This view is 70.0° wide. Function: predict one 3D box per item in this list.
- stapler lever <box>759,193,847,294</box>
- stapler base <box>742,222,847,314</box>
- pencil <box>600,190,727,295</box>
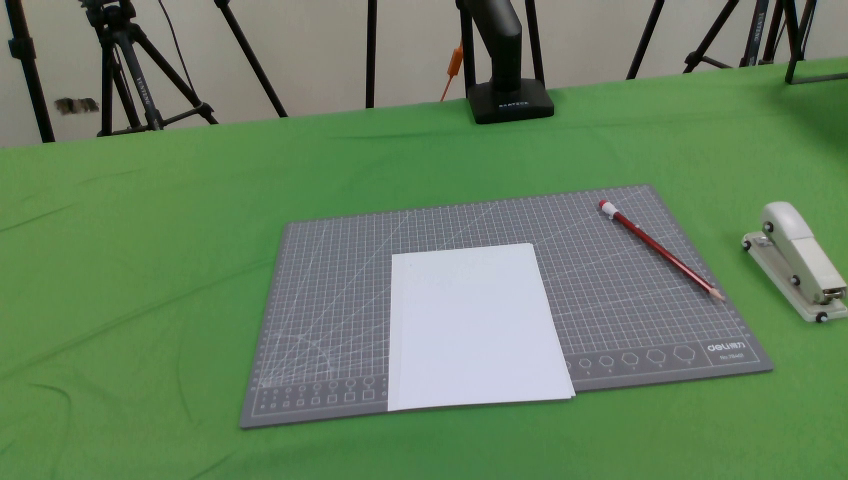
[{"bbox_3d":[0.357,-0.001,0.572,0.027,0.040,0.117,-9,39,0],"label":"stapler lever"},{"bbox_3d":[0.359,0.017,0.589,0.041,0.025,0.129,-9,40,0],"label":"stapler base"},{"bbox_3d":[0.244,-0.002,0.634,0.012,0.012,0.192,-18,40,-15],"label":"pencil"}]
